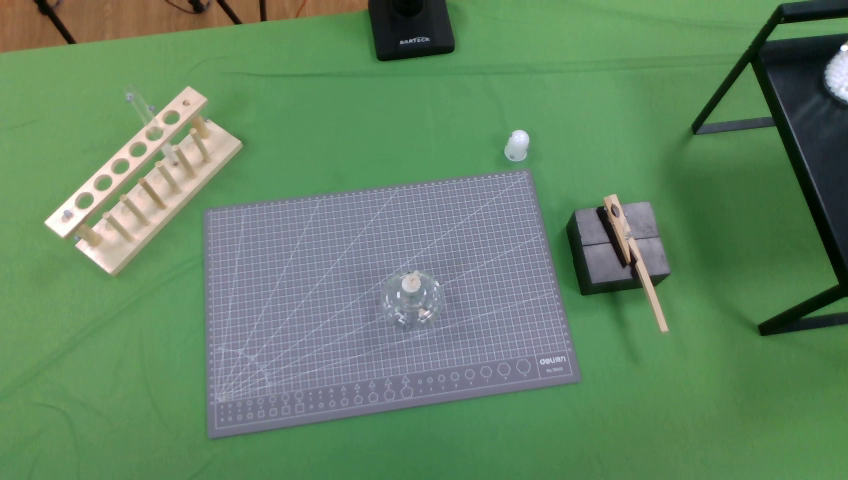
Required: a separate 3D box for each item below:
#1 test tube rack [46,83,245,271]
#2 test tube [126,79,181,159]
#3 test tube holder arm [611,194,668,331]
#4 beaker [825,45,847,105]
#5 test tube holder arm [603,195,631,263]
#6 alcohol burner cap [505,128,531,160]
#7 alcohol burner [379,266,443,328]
[{"bbox_3d":[-0.349,-0.083,0.783,0.066,0.086,0.242,35,72,12],"label":"test tube rack"},{"bbox_3d":[-0.334,-0.146,0.755,0.017,0.151,0.017,1,65,-1],"label":"test tube"},{"bbox_3d":[0.262,0.026,0.743,0.013,0.015,0.177,-20,74,8],"label":"test tube holder arm"},{"bbox_3d":[0.492,-0.198,0.651,0.084,0.101,0.073,20,69,7],"label":"beaker"},{"bbox_3d":[0.244,-0.014,0.756,0.010,0.015,0.087,-19,74,9],"label":"test tube holder arm"},{"bbox_3d":[0.132,-0.136,0.842,0.034,0.048,0.033,1,68,-1],"label":"alcohol burner cap"},{"bbox_3d":[-0.015,0.062,0.719,0.078,0.120,0.077,1,67,-2],"label":"alcohol burner"}]
